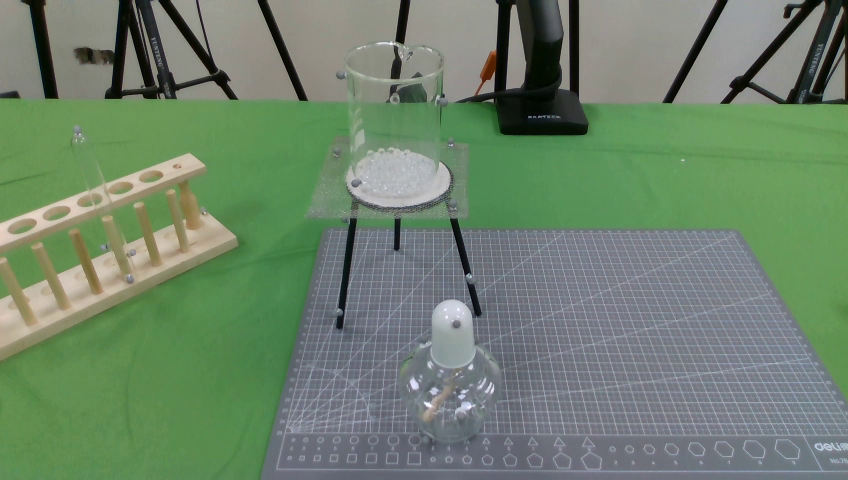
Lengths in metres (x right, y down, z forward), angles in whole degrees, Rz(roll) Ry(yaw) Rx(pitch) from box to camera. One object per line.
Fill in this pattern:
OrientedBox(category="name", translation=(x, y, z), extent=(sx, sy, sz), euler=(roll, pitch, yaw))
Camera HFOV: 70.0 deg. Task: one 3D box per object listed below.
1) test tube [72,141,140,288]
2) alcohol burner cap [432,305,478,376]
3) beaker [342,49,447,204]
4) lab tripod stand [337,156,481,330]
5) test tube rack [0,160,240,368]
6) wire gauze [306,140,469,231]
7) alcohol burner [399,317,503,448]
OrientedBox(category="test tube", translation=(-0.279, -0.018, 0.534), extent=(0.017, 0.151, 0.017), euler=(1, 37, 0))
OrientedBox(category="alcohol burner cap", translation=(0.021, 0.066, 0.412), extent=(0.034, 0.048, 0.033), euler=(-2, 37, 2))
OrientedBox(category="beaker", translation=(-0.021, -0.086, 0.464), extent=(0.074, 0.101, 0.083), euler=(8, 38, 6))
OrientedBox(category="lab tripod stand", translation=(-0.016, 0.004, 0.534), extent=(0.148, 0.132, 0.147), euler=(1, 37, -1))
OrientedBox(category="test tube rack", translation=(-0.303, 0.016, 0.563), extent=(0.242, 0.086, 0.066), euler=(-30, 46, -33))
OrientedBox(category="wire gauze", translation=(-0.024, -0.047, 0.492), extent=(0.121, 0.011, 0.124), euler=(2, 40, 2))
OrientedBox(category="alcohol burner", translation=(0.020, 0.094, 0.434), extent=(0.078, 0.120, 0.077), euler=(1, 40, 0))
